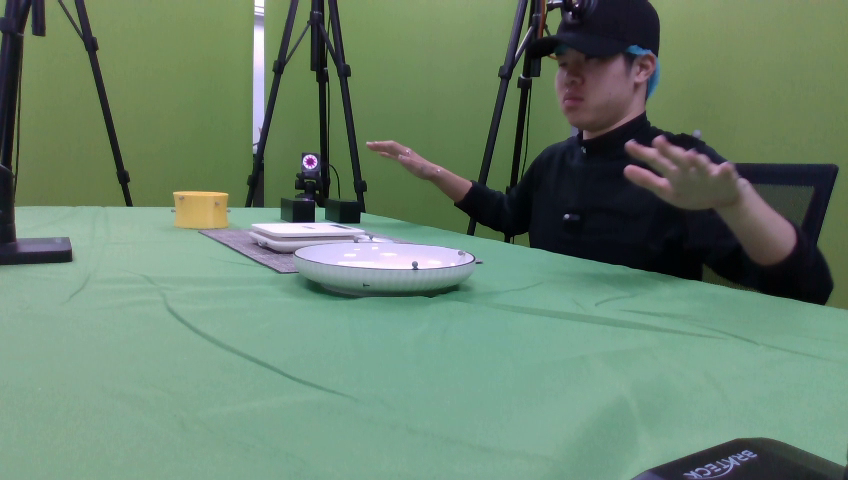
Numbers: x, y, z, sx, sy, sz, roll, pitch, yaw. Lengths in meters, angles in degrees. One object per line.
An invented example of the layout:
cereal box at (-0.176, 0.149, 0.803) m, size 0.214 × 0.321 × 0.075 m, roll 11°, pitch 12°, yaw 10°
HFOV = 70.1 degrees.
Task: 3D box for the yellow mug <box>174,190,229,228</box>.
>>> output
yellow mug at (-0.427, -0.063, 1.189) m, size 0.100 × 0.064 × 0.131 m, roll 5°, pitch 7°, yaw 13°

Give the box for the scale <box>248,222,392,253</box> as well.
scale at (-0.162, -0.006, 0.954) m, size 0.202 × 0.031 × 0.148 m, roll -1°, pitch 9°, yaw -32°

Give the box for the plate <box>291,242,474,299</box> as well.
plate at (-0.047, 0.033, 0.693) m, size 0.209 × 0.038 × 0.209 m, roll 3°, pitch 7°, yaw 0°
